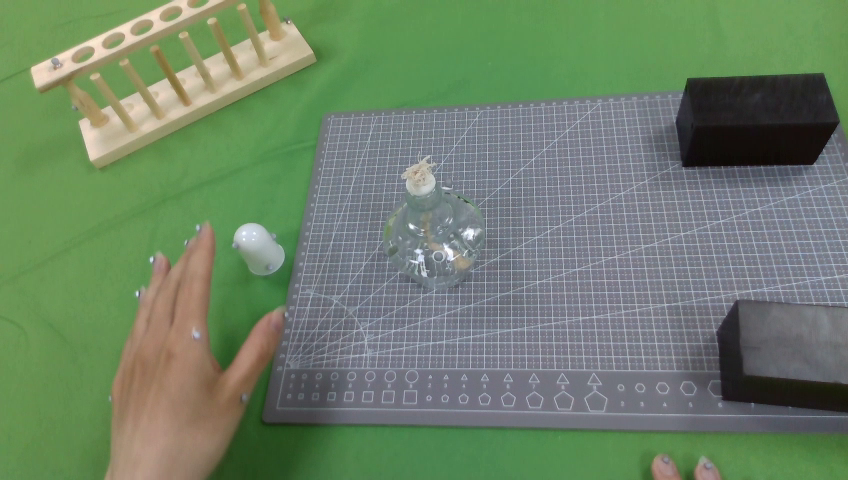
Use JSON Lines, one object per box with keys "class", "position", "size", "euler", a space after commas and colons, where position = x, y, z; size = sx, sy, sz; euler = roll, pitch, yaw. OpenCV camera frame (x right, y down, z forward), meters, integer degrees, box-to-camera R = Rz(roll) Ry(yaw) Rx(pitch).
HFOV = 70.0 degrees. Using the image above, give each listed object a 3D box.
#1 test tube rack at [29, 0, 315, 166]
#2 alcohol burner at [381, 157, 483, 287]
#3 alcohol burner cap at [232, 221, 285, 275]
{"class": "test tube rack", "position": [-0.239, -0.175, 0.595], "size": [0.242, 0.086, 0.066], "euler": [-29, 59, -8]}
{"class": "alcohol burner", "position": [0.003, -0.016, 0.438], "size": [0.078, 0.120, 0.077], "euler": [-5, 56, 7]}
{"class": "alcohol burner cap", "position": [-0.138, 0.004, 0.497], "size": [0.034, 0.048, 0.033], "euler": [-5, 58, 8]}
